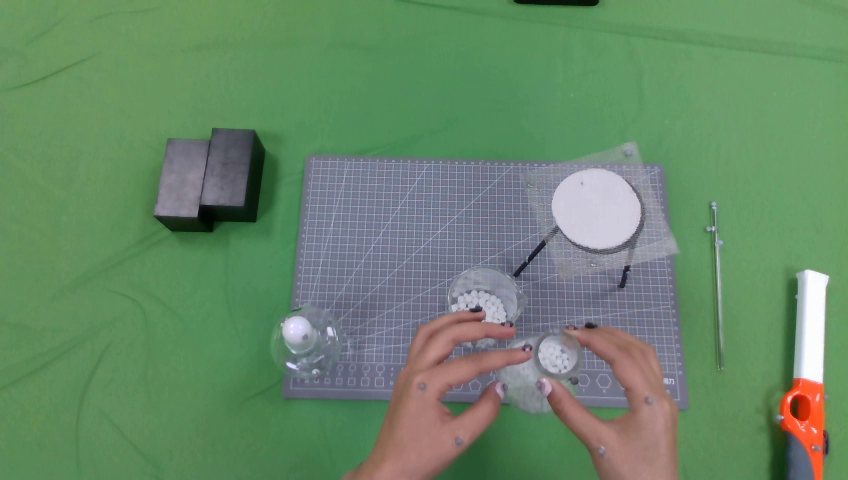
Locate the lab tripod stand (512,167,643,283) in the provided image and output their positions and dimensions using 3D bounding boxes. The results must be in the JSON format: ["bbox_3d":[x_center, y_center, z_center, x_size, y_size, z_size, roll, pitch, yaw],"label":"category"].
[{"bbox_3d":[0.171,-0.009,0.663,0.148,0.132,0.147,0,73,1],"label":"lab tripod stand"}]

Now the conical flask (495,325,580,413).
[{"bbox_3d":[0.101,0.104,0.513,0.075,0.122,0.075,-1,70,2],"label":"conical flask"}]

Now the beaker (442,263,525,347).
[{"bbox_3d":[0.060,0.074,0.654,0.084,0.101,0.073,-4,72,-2],"label":"beaker"}]

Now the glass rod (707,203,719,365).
[{"bbox_3d":[0.340,0.047,0.714,0.008,0.008,0.198,6,71,2],"label":"glass rod"}]

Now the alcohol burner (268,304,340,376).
[{"bbox_3d":[-0.128,0.102,0.635,0.078,0.119,0.077,1,73,-1],"label":"alcohol burner"}]

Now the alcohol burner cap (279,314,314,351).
[{"bbox_3d":[-0.127,0.089,0.601,0.034,0.048,0.033,2,70,-5],"label":"alcohol burner cap"}]

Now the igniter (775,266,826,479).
[{"bbox_3d":[0.417,0.161,0.667,0.057,0.025,0.275,17,72,-6],"label":"igniter"}]

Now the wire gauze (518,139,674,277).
[{"bbox_3d":[0.170,-0.032,0.600,0.125,0.011,0.120,-14,74,-4],"label":"wire gauze"}]
